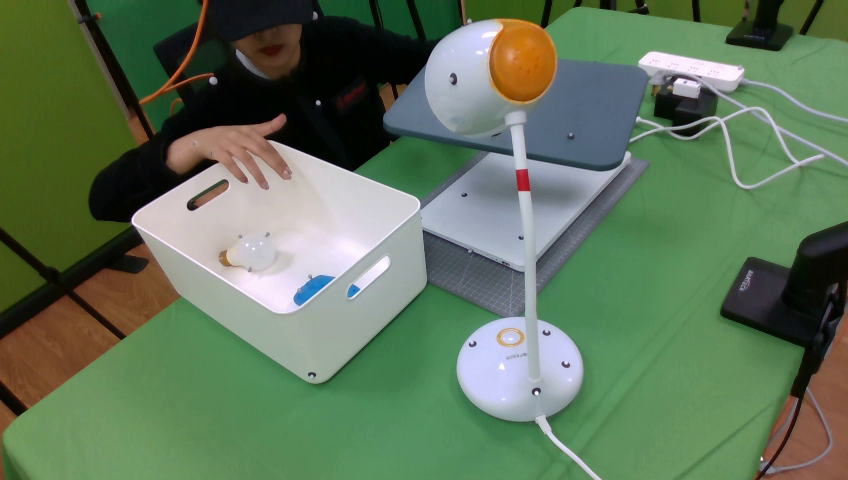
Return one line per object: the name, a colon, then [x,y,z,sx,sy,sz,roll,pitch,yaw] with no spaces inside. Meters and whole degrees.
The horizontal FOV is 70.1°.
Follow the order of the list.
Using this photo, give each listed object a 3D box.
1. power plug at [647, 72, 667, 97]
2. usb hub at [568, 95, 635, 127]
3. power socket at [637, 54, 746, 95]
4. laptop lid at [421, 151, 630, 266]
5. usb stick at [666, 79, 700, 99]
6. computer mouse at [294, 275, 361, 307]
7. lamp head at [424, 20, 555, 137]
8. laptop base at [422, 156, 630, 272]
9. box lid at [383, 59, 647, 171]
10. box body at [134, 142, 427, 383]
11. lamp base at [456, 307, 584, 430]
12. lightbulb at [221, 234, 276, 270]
power plug: [0.494,-0.320,1.260,0.073,0.052,0.035,1,19,-41]
usb hub: [0.360,-0.263,1.228,0.124,0.025,0.049,25,50,34]
power socket: [0.564,-0.357,1.293,0.225,0.033,0.072,24,51,33]
laptop lid: [0.172,-0.093,1.049,0.239,0.013,0.358,23,50,36]
usb stick: [0.492,-0.288,1.152,0.058,0.027,0.021,20,50,34]
computer mouse: [-0.138,0.084,0.891,0.116,0.041,0.063,19,49,37]
lamp head: [0.069,-0.153,0.572,0.113,0.112,0.122,-21,16,-14]
laptop base: [0.176,-0.083,1.055,0.233,0.023,0.355,21,48,36]
box lid: [0.147,-0.218,0.950,0.369,0.015,0.263,13,49,19]
box body: [-0.201,0.018,0.896,0.361,0.161,0.255,23,50,33]
lamp base: [0.115,0.108,0.713,0.161,0.181,0.178,-16,43,-8]
lightbulb: [-0.290,0.024,0.988,0.107,0.060,0.059,-12,35,29]
